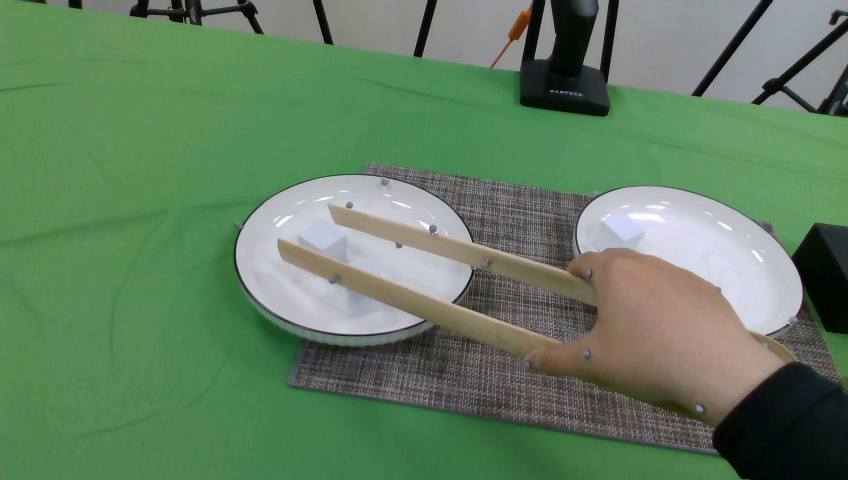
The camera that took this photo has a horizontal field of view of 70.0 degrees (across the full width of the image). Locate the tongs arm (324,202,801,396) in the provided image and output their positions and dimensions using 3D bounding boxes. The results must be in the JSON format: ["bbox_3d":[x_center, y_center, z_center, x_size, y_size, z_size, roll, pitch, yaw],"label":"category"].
[{"bbox_3d":[0.060,0.033,0.446,0.382,0.027,0.050,16,43,29],"label":"tongs arm"}]

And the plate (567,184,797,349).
[{"bbox_3d":[0.236,0.025,0.574,0.208,0.039,0.205,5,42,-4],"label":"plate"}]

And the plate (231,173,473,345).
[{"bbox_3d":[-0.061,0.016,0.538,0.209,0.038,0.207,5,42,-4],"label":"plate"}]

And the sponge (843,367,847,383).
[{"bbox_3d":[0.414,0.168,0.431,0.118,0.061,0.205,6,43,-1],"label":"sponge"}]

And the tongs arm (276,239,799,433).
[{"bbox_3d":[0.038,0.054,0.423,0.384,0.028,0.028,16,39,30],"label":"tongs arm"}]
